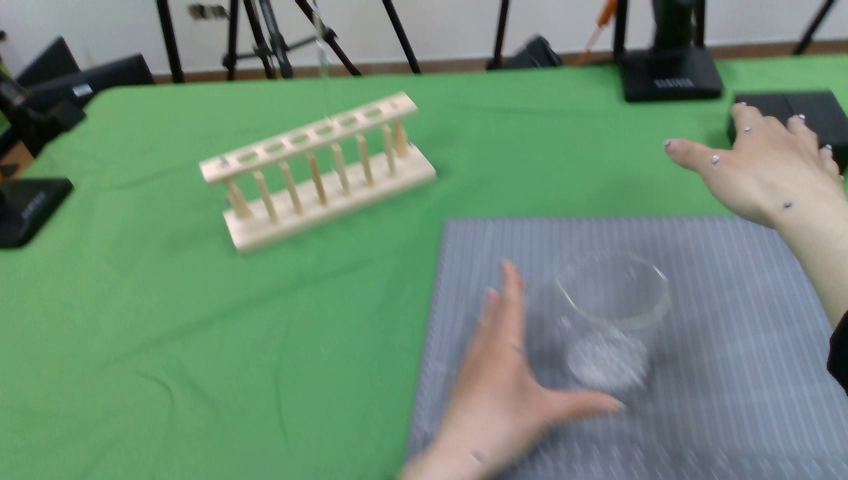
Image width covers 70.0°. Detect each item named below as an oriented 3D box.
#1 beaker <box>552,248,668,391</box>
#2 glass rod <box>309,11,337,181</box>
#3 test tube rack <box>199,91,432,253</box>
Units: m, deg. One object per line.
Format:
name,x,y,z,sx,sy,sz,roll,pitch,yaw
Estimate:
beaker,0.144,0.067,0.484,0.083,0.101,0.073,6,47,18
glass rod,-0.107,-0.148,0.661,0.008,0.201,0.008,-1,39,2
test tube rack,-0.117,-0.080,0.690,0.242,0.086,0.066,-23,46,-13
